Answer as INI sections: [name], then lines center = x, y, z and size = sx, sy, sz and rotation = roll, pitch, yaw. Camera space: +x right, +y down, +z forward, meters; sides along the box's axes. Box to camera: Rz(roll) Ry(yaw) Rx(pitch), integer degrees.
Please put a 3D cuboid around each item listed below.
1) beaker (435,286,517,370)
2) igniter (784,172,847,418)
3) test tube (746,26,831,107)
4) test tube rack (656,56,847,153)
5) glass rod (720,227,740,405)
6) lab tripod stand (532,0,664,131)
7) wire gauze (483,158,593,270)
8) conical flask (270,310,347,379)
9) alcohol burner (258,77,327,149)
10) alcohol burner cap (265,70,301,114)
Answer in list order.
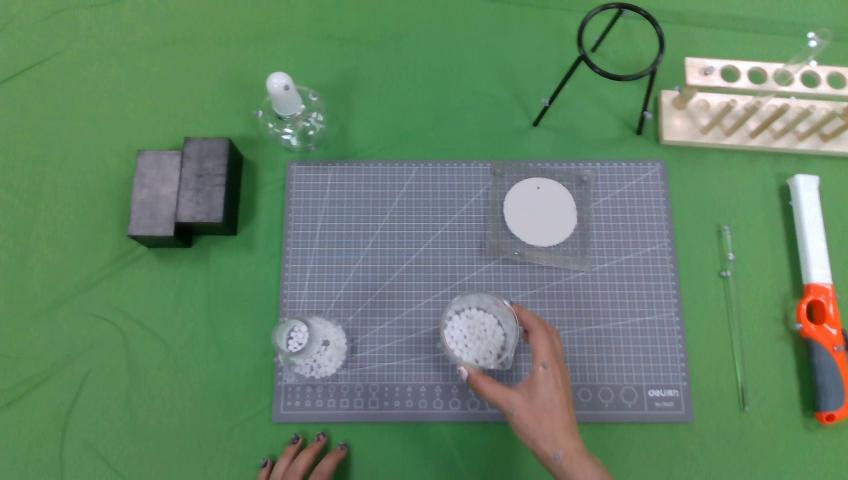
[beaker]
center = 0.052, 0.095, 0.610
size = 0.074, 0.101, 0.083
rotation = -37, 78, -9
[igniter]
center = 0.435, 0.056, 0.675
size = 0.057, 0.025, 0.275
rotation = 4, 76, -9
[test tube]
center = 0.388, -0.181, 0.654
size = 0.017, 0.151, 0.017
rotation = -1, 75, 3
[test tube rack]
center = 0.404, -0.153, 0.698
size = 0.242, 0.085, 0.066
rotation = 3, 75, 1
[glass rod]
center = 0.342, 0.082, 0.677
size = 0.008, 0.008, 0.199
rotation = 1, 78, 0
[lab tripod stand]
center = 0.198, -0.187, 0.680
size = 0.148, 0.132, 0.147
rotation = 0, 77, 0
[wire gauze]
center = 0.134, -0.033, 0.703
size = 0.125, 0.011, 0.121
rotation = 8, 76, -1
[conical flask]
center = -0.121, 0.100, 0.607
size = 0.075, 0.122, 0.075
rotation = 0, 75, 0
[alcohol burner]
center = -0.151, -0.149, 0.678
size = 0.078, 0.119, 0.077
rotation = 0, 76, 2
[alcohol burner cap]
center = -0.151, -0.160, 0.644
size = 0.034, 0.048, 0.033
rotation = 0, 69, -1
